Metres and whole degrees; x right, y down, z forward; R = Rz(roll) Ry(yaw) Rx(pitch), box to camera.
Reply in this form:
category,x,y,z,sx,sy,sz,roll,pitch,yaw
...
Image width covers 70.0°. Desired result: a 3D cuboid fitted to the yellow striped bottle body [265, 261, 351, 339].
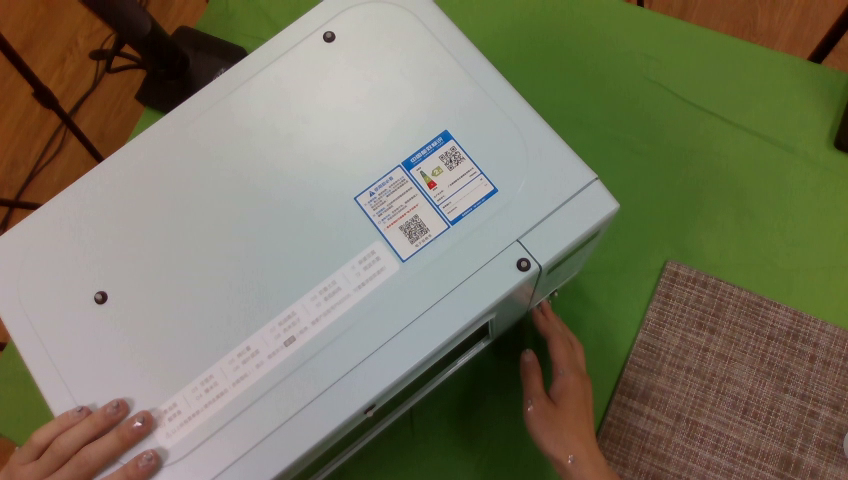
category,x,y,z,sx,sy,sz,roll,pitch,yaw
yellow striped bottle body,-0.113,0.058,0.590,0.063,0.121,0.062,-1,74,4

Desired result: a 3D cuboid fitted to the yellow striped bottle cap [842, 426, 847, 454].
category,x,y,z,sx,sy,sz,roll,pitch,yaw
yellow striped bottle cap,0.449,0.205,0.610,0.044,0.019,0.044,-2,76,7

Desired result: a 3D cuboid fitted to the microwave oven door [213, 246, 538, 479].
category,x,y,z,sx,sy,sz,roll,pitch,yaw
microwave oven door,-0.050,0.144,0.547,0.356,0.245,0.039,-38,74,-4

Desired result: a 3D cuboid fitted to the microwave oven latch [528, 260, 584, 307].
category,x,y,z,sx,sy,sz,roll,pitch,yaw
microwave oven latch,0.137,0.038,0.660,0.079,0.029,0.030,-37,75,-3

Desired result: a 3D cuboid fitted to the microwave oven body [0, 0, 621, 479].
category,x,y,z,sx,sy,sz,roll,pitch,yaw
microwave oven body,-0.104,0.010,0.592,0.441,0.261,0.324,-38,75,-3
